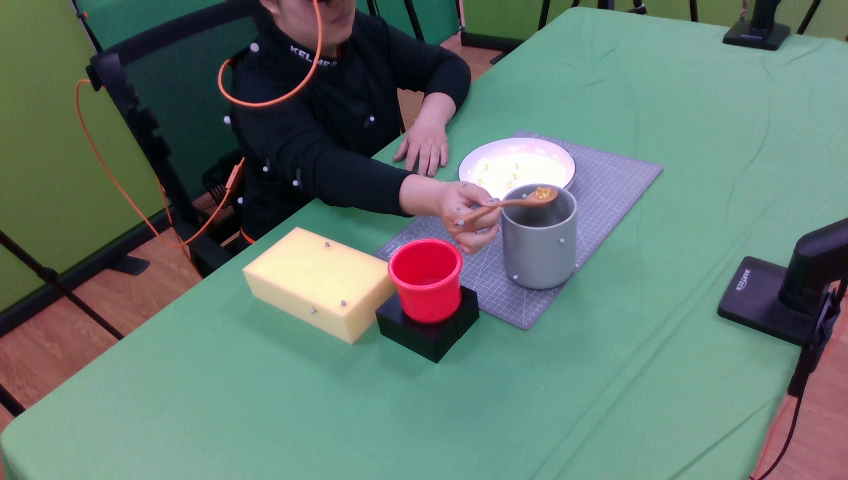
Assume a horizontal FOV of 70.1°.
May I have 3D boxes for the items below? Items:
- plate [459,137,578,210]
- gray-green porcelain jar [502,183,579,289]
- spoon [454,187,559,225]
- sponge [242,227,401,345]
[{"bbox_3d":[0.166,-0.113,1.068,0.207,0.039,0.206,-5,40,5],"label":"plate"},{"bbox_3d":[0.167,-0.001,0.866,0.106,0.127,0.105,-5,40,5],"label":"gray-green porcelain jar"},{"bbox_3d":[0.109,-0.046,0.791,0.195,0.021,0.041,-14,23,-39],"label":"spoon"},{"bbox_3d":[-0.153,0.063,0.907,0.205,0.061,0.118,19,48,30],"label":"sponge"}]
